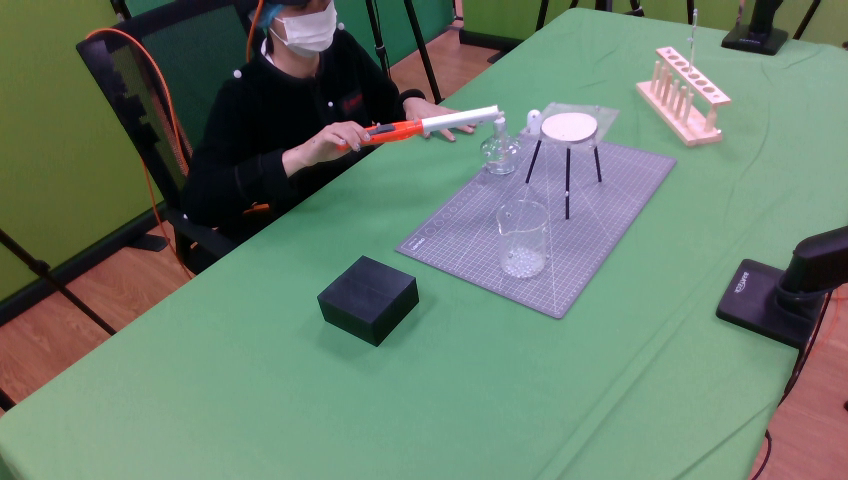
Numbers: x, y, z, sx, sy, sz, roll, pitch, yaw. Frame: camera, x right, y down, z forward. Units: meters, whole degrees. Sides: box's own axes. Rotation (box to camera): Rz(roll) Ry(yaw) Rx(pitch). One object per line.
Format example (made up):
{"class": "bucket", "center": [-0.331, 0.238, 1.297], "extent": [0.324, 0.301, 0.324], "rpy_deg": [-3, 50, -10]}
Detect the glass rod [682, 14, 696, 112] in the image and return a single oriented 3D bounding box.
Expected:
{"class": "glass rod", "center": [0.495, -0.326, 1.132], "extent": [0.008, 0.201, 0.008], "rpy_deg": [-8, 42, 8]}

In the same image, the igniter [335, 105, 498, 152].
{"class": "igniter", "center": [-0.014, -0.186, 1.009], "extent": [0.277, 0.057, 0.025], "rpy_deg": [-12, 77, -2]}

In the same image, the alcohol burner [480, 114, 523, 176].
{"class": "alcohol burner", "center": [0.139, -0.176, 1.089], "extent": [0.078, 0.119, 0.077], "rpy_deg": [-5, 42, 5]}

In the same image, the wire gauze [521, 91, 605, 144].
{"class": "wire gauze", "center": [0.219, -0.191, 0.948], "extent": [0.121, 0.011, 0.125], "rpy_deg": [8, 49, 13]}

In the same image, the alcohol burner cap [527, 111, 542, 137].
{"class": "alcohol burner cap", "center": [0.220, -0.233, 1.200], "extent": [0.034, 0.048, 0.033], "rpy_deg": [-5, 41, 5]}

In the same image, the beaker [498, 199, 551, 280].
{"class": "beaker", "center": [0.144, 0.003, 0.884], "extent": [0.073, 0.101, 0.084], "rpy_deg": [28, 52, 36]}

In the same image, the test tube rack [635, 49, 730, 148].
{"class": "test tube rack", "center": [0.497, -0.283, 1.185], "extent": [0.067, 0.085, 0.240], "rpy_deg": [-10, 40, -2]}

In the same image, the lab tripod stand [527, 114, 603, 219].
{"class": "lab tripod stand", "center": [0.234, -0.129, 1.002], "extent": [0.148, 0.132, 0.147], "rpy_deg": [-6, 40, 6]}
